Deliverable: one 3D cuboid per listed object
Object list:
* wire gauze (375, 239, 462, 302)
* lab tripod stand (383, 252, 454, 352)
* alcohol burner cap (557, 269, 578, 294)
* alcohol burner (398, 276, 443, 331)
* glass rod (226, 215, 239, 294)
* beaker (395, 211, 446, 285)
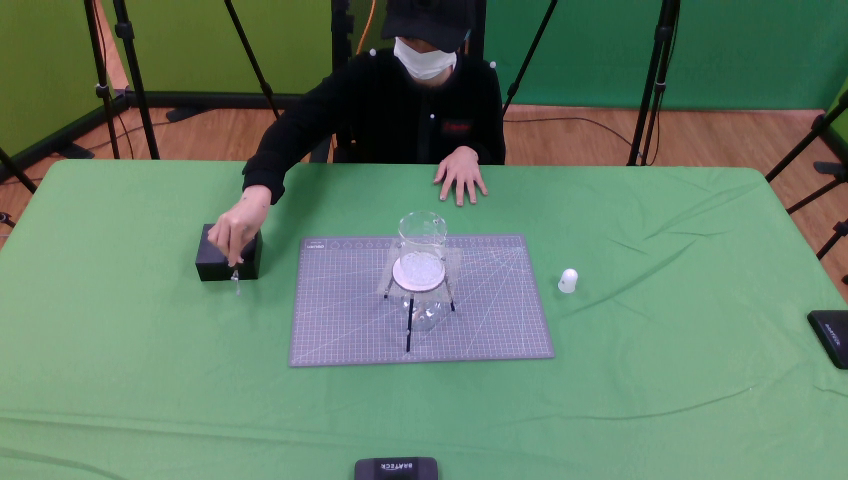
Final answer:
[{"bbox_3d":[-0.006,0.049,0.978,0.121,0.011,0.124,10,44,5],"label":"wire gauze"},{"bbox_3d":[-0.016,0.094,1.025,0.148,0.132,0.147,1,46,-1],"label":"lab tripod stand"},{"bbox_3d":[0.270,0.075,1.135,0.034,0.048,0.033,3,46,-2],"label":"alcohol burner cap"},{"bbox_3d":[-0.005,0.101,1.033,0.078,0.119,0.077,3,48,-3],"label":"alcohol burner"},{"bbox_3d":[-0.346,0.021,1.092,0.008,0.008,0.198,-10,47,-14],"label":"glass rod"},{"bbox_3d":[-0.002,0.017,0.941,0.083,0.101,0.074,36,54,29],"label":"beaker"}]
